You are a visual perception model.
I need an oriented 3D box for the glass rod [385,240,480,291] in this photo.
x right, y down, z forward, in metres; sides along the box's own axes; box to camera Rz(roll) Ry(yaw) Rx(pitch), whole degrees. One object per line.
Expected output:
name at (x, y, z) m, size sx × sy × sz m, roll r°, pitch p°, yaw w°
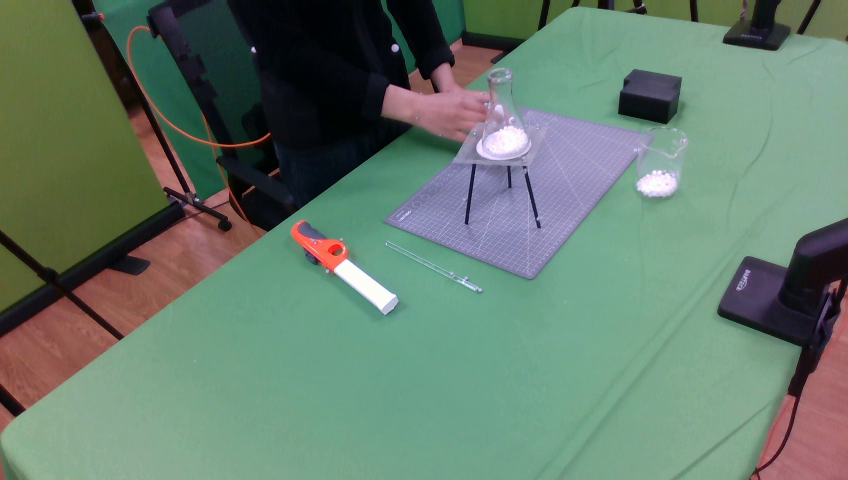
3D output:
glass rod at (0.009, 0.037, 0.950) m, size 0.198 × 0.008 × 0.008 m, roll 26°, pitch 52°, yaw 35°

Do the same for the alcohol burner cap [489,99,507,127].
alcohol burner cap at (0.134, -0.233, 1.102) m, size 0.034 × 0.048 × 0.033 m, roll -5°, pitch 45°, yaw 6°

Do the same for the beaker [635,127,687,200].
beaker at (0.388, -0.122, 0.994) m, size 0.074 × 0.101 × 0.083 m, roll -8°, pitch 40°, yaw 2°

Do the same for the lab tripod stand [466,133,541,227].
lab tripod stand at (0.130, -0.099, 0.985) m, size 0.148 × 0.132 × 0.147 m, roll -6°, pitch 38°, yaw 6°

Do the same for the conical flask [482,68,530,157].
conical flask at (0.118, -0.192, 0.902) m, size 0.075 × 0.122 × 0.075 m, roll -7°, pitch 39°, yaw 6°

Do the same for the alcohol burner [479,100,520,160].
alcohol burner at (0.139, -0.206, 1.126) m, size 0.078 × 0.120 × 0.077 m, roll -7°, pitch 40°, yaw 6°

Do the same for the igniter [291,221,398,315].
igniter at (-0.136, 0.037, 0.962) m, size 0.057 × 0.025 × 0.274 m, roll -41°, pitch 48°, yaw -18°

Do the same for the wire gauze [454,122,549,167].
wire gauze at (0.122, -0.149, 0.943) m, size 0.121 × 0.011 × 0.125 m, roll 7°, pitch 44°, yaw 22°
